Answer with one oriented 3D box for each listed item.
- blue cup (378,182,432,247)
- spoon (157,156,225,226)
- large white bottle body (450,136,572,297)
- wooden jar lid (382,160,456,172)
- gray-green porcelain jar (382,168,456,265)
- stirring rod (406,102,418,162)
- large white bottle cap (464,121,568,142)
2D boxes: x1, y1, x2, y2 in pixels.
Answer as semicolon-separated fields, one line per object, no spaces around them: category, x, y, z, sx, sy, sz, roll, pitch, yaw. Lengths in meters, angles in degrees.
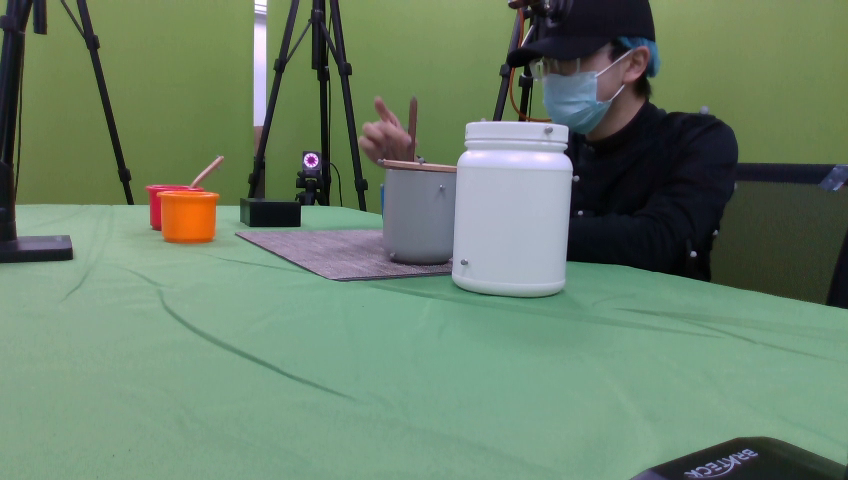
blue cup;-0.030;-0.042;0.979;0.093;0.100;0.092;1;9;0
spoon;-0.425;-0.094;1.117;0.041;0.022;0.194;3;51;31
large white bottle body;0.099;-0.037;0.688;0.131;0.184;0.130;2;7;0
wooden jar lid;-0.003;-0.096;0.826;0.108;0.020;0.108;5;10;0
gray-green porcelain jar;-0.005;-0.034;0.834;0.106;0.126;0.106;3;7;0
stirring rod;-0.023;-0.137;0.987;0.014;0.176;0.006;6;3;30
large white bottle cap;0.103;-0.120;0.677;0.115;0.018;0.115;3;7;0
